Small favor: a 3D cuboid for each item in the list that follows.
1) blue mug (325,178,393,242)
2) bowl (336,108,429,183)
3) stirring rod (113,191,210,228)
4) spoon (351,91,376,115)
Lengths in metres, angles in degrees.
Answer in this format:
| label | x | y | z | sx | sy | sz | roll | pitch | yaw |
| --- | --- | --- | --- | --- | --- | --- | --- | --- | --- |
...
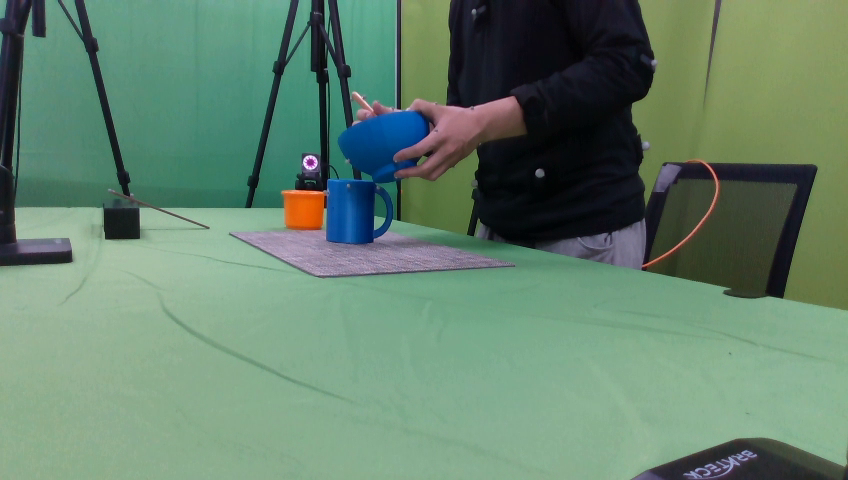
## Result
| label | x | y | z | sx | sy | sz | roll | pitch | yaw |
| --- | --- | --- | --- | --- | --- | --- | --- | --- | --- |
| blue mug | -0.111 | -0.052 | 1.034 | 0.116 | 0.106 | 0.082 | 3 | 7 | 7 |
| bowl | -0.056 | -0.140 | 0.953 | 0.151 | 0.076 | 0.151 | -16 | -7 | -2 |
| stirring rod | -0.484 | -0.055 | 1.121 | 0.177 | 0.006 | 0.014 | 22 | -6 | -22 |
| spoon | -0.070 | -0.202 | 1.009 | 0.022 | 0.041 | 0.193 | -25 | 54 | -34 |
